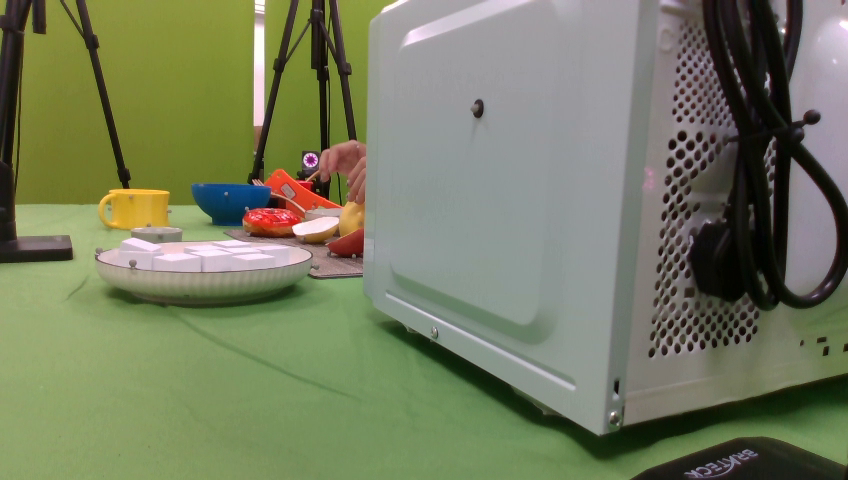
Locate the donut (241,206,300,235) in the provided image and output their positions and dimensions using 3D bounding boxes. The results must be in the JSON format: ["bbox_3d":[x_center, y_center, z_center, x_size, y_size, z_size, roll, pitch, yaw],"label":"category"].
[{"bbox_3d":[-0.263,-0.032,1.039,0.099,0.048,0.099,4,10,0],"label":"donut"}]

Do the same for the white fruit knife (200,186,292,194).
[{"bbox_3d":[-0.399,-0.111,1.368,0.208,0.016,0.027,-4,-19,-30],"label":"white fruit knife"}]

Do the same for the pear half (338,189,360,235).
[{"bbox_3d":[-0.088,-0.042,0.922,0.055,0.110,0.077,8,12,35],"label":"pear half"}]

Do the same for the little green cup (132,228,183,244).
[{"bbox_3d":[-0.342,0.006,0.779,0.061,0.038,0.061,2,8,0],"label":"little green cup"}]

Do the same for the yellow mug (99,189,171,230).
[{"bbox_3d":[-0.519,-0.055,1.080,0.099,0.064,0.131,7,10,26],"label":"yellow mug"}]

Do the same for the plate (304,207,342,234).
[{"bbox_3d":[-0.123,-0.037,1.149,0.209,0.038,0.209,2,7,0],"label":"plate"}]

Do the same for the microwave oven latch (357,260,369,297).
[{"bbox_3d":[-0.019,0.033,0.531,0.079,0.029,0.030,-1,7,-27],"label":"microwave oven latch"}]

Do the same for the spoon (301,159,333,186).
[{"bbox_3d":[-0.316,-0.159,1.639,0.194,0.022,0.041,-49,32,-20],"label":"spoon"}]

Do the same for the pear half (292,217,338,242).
[{"bbox_3d":[-0.175,-0.014,0.977,0.087,0.031,0.071,-3,15,36],"label":"pear half"}]

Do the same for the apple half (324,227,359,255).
[{"bbox_3d":[-0.096,0.002,0.848,0.081,0.033,0.081,-21,0,0],"label":"apple half"}]

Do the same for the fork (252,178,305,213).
[{"bbox_3d":[-0.295,-0.084,1.292,0.206,0.018,0.028,29,11,25],"label":"fork"}]

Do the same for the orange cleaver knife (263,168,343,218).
[{"bbox_3d":[-0.262,-0.088,1.352,0.211,0.077,0.012,28,13,0],"label":"orange cleaver knife"}]

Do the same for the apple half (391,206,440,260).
[{"bbox_3d":[-0.006,-0.009,0.837,0.053,0.074,0.081,10,5,23],"label":"apple half"}]

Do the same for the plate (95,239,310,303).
[{"bbox_3d":[-0.224,0.031,0.629,0.208,0.039,0.207,2,7,0],"label":"plate"}]

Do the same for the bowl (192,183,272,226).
[{"bbox_3d":[-0.381,-0.071,1.202,0.151,0.077,0.151,3,7,0],"label":"bowl"}]

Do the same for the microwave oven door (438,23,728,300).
[{"bbox_3d":[0.181,-0.072,0.621,0.358,0.243,0.039,-2,8,-29],"label":"microwave oven door"}]

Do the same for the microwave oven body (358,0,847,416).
[{"bbox_3d":[0.211,-0.047,0.474,0.444,0.260,0.324,-1,7,-28],"label":"microwave oven body"}]
